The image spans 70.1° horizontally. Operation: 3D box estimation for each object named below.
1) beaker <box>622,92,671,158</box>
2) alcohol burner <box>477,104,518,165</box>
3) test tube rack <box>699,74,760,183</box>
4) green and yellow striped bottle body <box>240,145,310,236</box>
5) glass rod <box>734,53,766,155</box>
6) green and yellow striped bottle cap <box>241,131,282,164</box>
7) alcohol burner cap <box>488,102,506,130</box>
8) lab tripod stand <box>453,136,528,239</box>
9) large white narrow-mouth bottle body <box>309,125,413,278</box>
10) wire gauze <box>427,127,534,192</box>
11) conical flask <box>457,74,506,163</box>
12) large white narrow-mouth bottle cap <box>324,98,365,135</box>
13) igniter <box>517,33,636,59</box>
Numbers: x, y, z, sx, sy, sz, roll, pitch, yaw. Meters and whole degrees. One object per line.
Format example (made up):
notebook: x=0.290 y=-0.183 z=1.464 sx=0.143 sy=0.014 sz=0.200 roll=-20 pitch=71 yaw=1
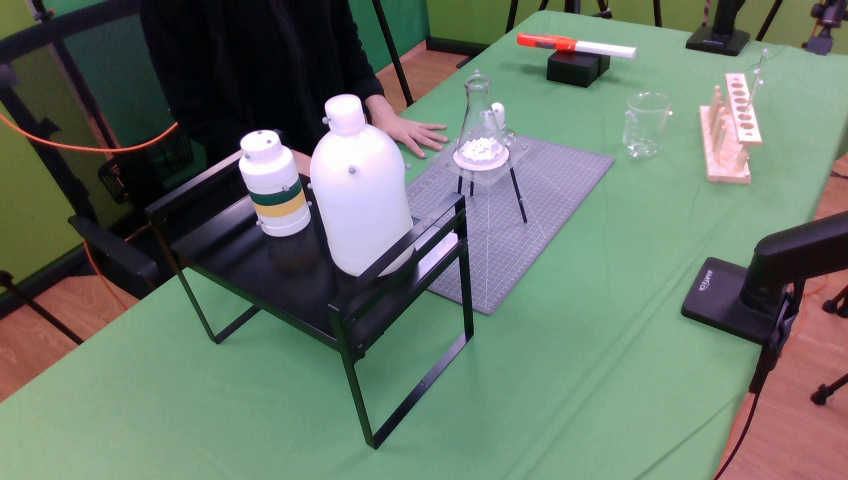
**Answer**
beaker: x=0.402 y=-0.210 z=1.106 sx=0.074 sy=0.101 sz=0.083 roll=-9 pitch=40 yaw=-2
alcohol burner: x=0.135 y=-0.200 z=1.117 sx=0.078 sy=0.119 sz=0.077 roll=-4 pitch=43 yaw=4
test tube rack: x=0.547 y=-0.208 z=1.095 sx=0.066 sy=0.085 sz=0.242 roll=6 pitch=42 yaw=16
green and yellow striped bottle body: x=-0.181 y=-0.068 z=0.729 sx=0.063 sy=0.120 sz=0.063 roll=-4 pitch=40 yaw=4
glass rod: x=0.540 y=-0.220 z=1.007 sx=0.008 sy=0.201 sz=0.008 roll=-5 pitch=46 yaw=6
green and yellow striped bottle cap: x=-0.187 y=-0.107 z=0.695 sx=0.045 sy=0.020 sz=0.045 roll=-3 pitch=39 yaw=3
alcohol burner cap: x=0.133 y=-0.227 z=1.092 sx=0.034 sy=0.048 sz=0.033 roll=-2 pitch=47 yaw=2
lab tripod stand: x=0.095 y=-0.086 z=0.974 sx=0.148 sy=0.132 sz=0.147 roll=-4 pitch=43 yaw=4
large white narrow-mouth bottle body: x=-0.068 y=-0.057 z=0.644 sx=0.102 sy=0.195 sz=0.101 roll=-3 pitch=42 yaw=4
wire gauze: x=0.086 y=-0.130 z=0.925 sx=0.124 sy=0.011 sz=0.122 roll=28 pitch=54 yaw=31
conical flask: x=0.082 y=-0.181 z=0.893 sx=0.075 sy=0.122 sz=0.075 roll=-4 pitch=41 yaw=4
large white narrow-mouth bottle cap: x=-0.076 y=-0.120 z=0.585 sx=0.038 sy=0.024 sz=0.037 roll=-3 pitch=42 yaw=3
igniter: x=0.336 y=-0.441 z=1.369 sx=0.275 sy=0.025 sz=0.057 roll=16 pitch=41 yaw=23
